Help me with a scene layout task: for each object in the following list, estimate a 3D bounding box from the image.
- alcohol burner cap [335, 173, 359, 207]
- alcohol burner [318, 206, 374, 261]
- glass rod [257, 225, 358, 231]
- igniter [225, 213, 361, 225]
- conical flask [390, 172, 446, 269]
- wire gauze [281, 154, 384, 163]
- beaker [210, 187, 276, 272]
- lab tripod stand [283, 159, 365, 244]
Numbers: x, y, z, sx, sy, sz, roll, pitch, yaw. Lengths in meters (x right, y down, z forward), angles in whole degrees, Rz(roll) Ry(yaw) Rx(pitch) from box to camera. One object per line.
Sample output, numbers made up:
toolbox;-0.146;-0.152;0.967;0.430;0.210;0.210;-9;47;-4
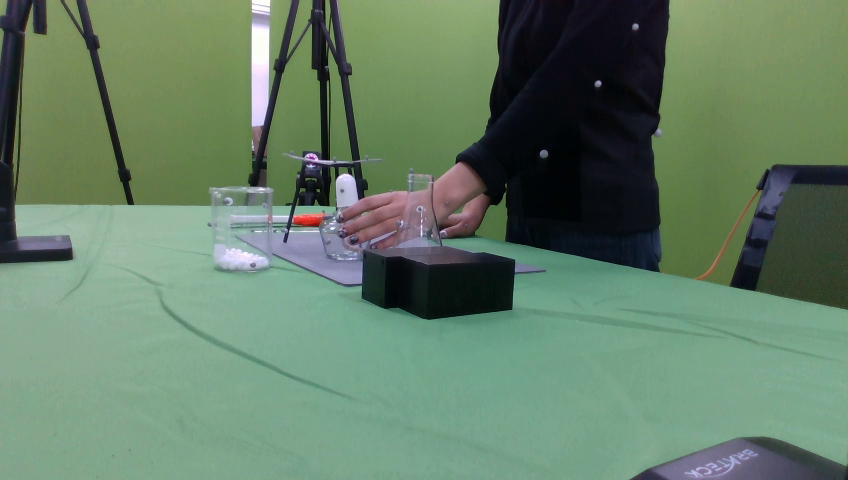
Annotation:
alcohol burner cap;-0.108;-0.068;0.829;0.034;0.048;0.034;-7;4;1
alcohol burner;-0.107;-0.032;0.834;0.078;0.119;0.078;1;6;0
glass rod;-0.216;-0.022;1.152;0.201;0.008;0.008;-2;8;-28
igniter;-0.257;-0.042;1.221;0.278;0.025;0.057;-2;-2;-32
conical flask;-0.006;-0.027;0.790;0.075;0.122;0.075;2;7;0
wire gauze;-0.146;-0.130;0.977;0.124;0.011;0.122;9;10;41
beaker;-0.224;-0.014;0.738;0.084;0.100;0.074;4;7;16
lab tripod stand;-0.151;-0.063;0.983;0.148;0.131;0.148;4;7;0
